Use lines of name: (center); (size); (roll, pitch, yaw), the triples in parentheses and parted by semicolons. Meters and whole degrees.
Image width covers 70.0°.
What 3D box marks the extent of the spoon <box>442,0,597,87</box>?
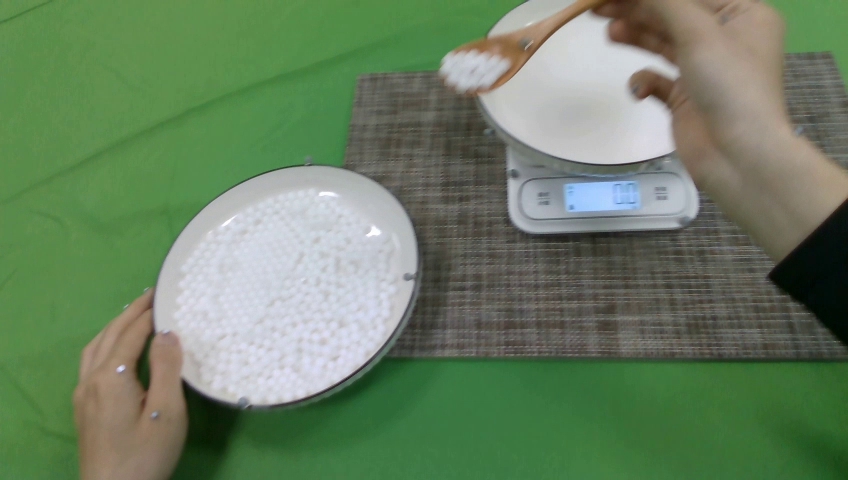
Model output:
spoon: (0.101, -0.148, 0.378); (0.193, 0.022, 0.041); (-25, 66, 14)

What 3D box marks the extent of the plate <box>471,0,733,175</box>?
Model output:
plate: (0.143, -0.134, 0.508); (0.207, 0.039, 0.205); (-3, 59, 5)

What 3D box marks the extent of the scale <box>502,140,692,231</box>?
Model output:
scale: (0.142, -0.099, 0.526); (0.148, 0.032, 0.199); (-2, 59, 6)

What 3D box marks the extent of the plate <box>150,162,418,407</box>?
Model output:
plate: (-0.106, 0.031, 0.475); (0.209, 0.038, 0.207); (-3, 59, 6)
